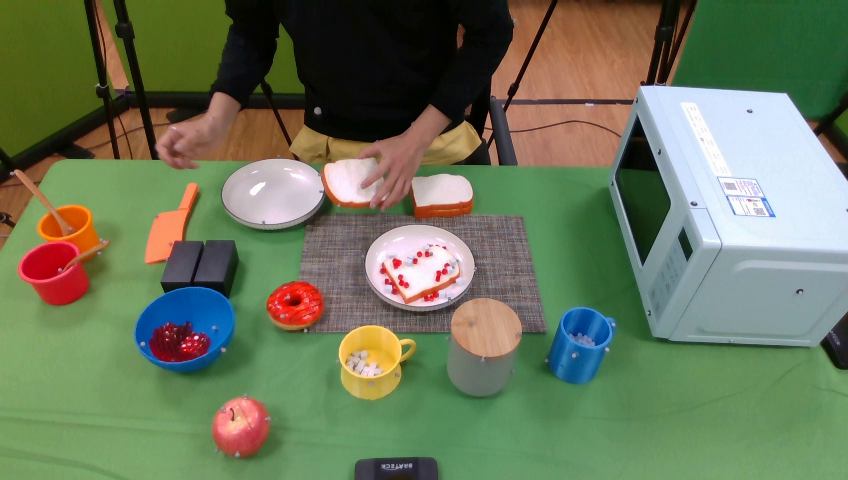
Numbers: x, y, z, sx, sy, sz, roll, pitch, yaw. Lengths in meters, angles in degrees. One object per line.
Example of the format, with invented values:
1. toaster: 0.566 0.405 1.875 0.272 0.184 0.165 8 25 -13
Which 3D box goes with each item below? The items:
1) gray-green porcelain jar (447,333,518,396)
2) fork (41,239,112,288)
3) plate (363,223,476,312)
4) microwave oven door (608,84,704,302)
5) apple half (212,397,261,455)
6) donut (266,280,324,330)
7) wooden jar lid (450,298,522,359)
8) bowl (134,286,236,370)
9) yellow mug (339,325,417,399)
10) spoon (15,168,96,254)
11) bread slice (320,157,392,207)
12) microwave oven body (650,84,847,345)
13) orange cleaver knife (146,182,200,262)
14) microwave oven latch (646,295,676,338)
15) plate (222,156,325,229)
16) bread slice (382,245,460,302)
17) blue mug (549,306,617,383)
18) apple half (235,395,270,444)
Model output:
1. gray-green porcelain jar: 0.091 0.178 0.960 0.106 0.127 0.105 2 46 -2
2. fork: -0.591 0.040 1.028 0.207 0.019 0.028 -27 36 29
3. plate: -0.009 0.054 1.126 0.208 0.039 0.206 2 47 -2
4. microwave oven door: 0.424 -0.096 1.138 0.039 0.245 0.353 2 47 -1
5. apple half: -0.276 0.277 0.877 0.053 0.075 0.080 -29 58 -21
6. donut: -0.223 0.112 1.051 0.099 0.048 0.098 2 46 -2
7. wooden jar lid: 0.093 0.135 0.914 0.108 0.021 0.107 3 48 -3
8. bowl: -0.377 0.156 0.981 0.151 0.077 0.150 2 46 -2
9. yellow mug: -0.072 0.191 0.978 0.131 0.064 0.099 -17 49 -20
10. spoon: -0.675 -0.052 1.109 0.021 0.194 0.041 -14 24 52
11. bread slice: -0.132 -0.113 1.162 0.135 0.018 0.106 -5 65 -36
12. microwave oven body: 0.569 -0.054 1.116 0.326 0.261 0.439 2 46 -1
13. orange cleaver knife: -0.494 -0.039 1.198 0.077 0.012 0.210 -3 48 2
14. microwave oven latch: 0.413 0.133 1.060 0.030 0.029 0.078 4 46 1
15. plate: -0.308 -0.095 1.251 0.209 0.038 0.208 3 47 -2
16. bread slice: 0.000 0.054 1.128 0.132 0.019 0.104 -20 51 -22
17. blue mug: 0.269 0.167 0.997 0.116 0.106 0.082 -19 50 -21
18. apple half: -0.245 0.260 0.893 0.033 0.082 0.081 -29 55 -22
